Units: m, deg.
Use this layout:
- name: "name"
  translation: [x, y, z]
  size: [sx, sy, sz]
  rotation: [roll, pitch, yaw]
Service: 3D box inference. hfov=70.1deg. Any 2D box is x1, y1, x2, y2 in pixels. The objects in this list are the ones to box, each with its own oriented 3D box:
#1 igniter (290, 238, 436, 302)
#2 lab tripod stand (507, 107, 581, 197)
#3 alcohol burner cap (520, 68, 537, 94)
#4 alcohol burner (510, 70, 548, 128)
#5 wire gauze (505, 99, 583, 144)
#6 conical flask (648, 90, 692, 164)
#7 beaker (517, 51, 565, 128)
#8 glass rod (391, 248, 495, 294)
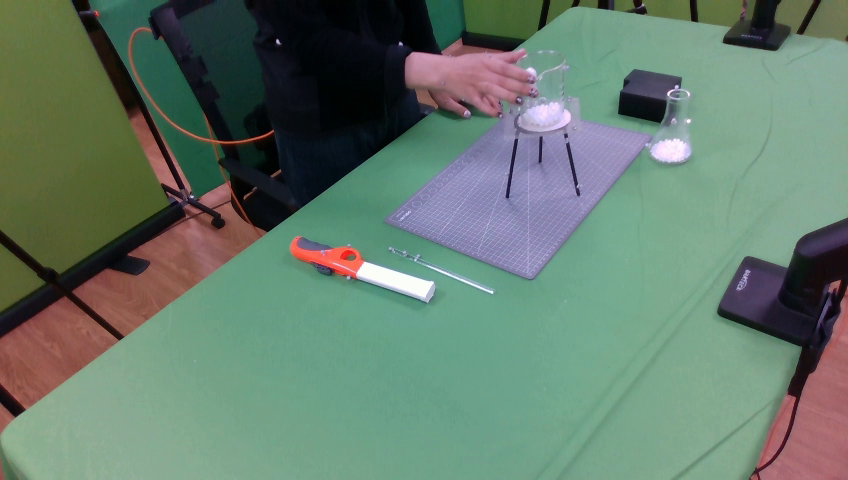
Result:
- name: "igniter"
  translation: [-0.106, 0.043, 0.949]
  size: [0.274, 0.025, 0.057]
  rotation: [16, 57, 27]
- name: "lab tripod stand"
  translation: [0.201, -0.151, 1.033]
  size: [0.148, 0.132, 0.147]
  rotation: [-7, 39, 6]
- name: "alcohol burner cap"
  translation: [0.205, -0.313, 1.183]
  size: [0.034, 0.048, 0.033]
  rotation: [-3, 50, 5]
- name: "alcohol burner"
  translation: [0.209, -0.287, 1.207]
  size: [0.078, 0.119, 0.077]
  rotation: [-5, 42, 5]
- name: "wire gauze"
  translation: [0.195, -0.199, 0.988]
  size: [0.121, 0.011, 0.124]
  rotation: [-3, 41, 13]
- name: "conical flask"
  translation: [0.437, -0.199, 1.057]
  size: [0.075, 0.122, 0.075]
  rotation: [-5, 40, 5]
- name: "beaker"
  translation: [0.186, -0.235, 0.957]
  size: [0.073, 0.101, 0.084]
  rotation: [4, 42, 19]
- name: "glass rod"
  translation: [0.026, 0.046, 0.936]
  size: [0.198, 0.008, 0.008]
  rotation: [22, 50, 32]
